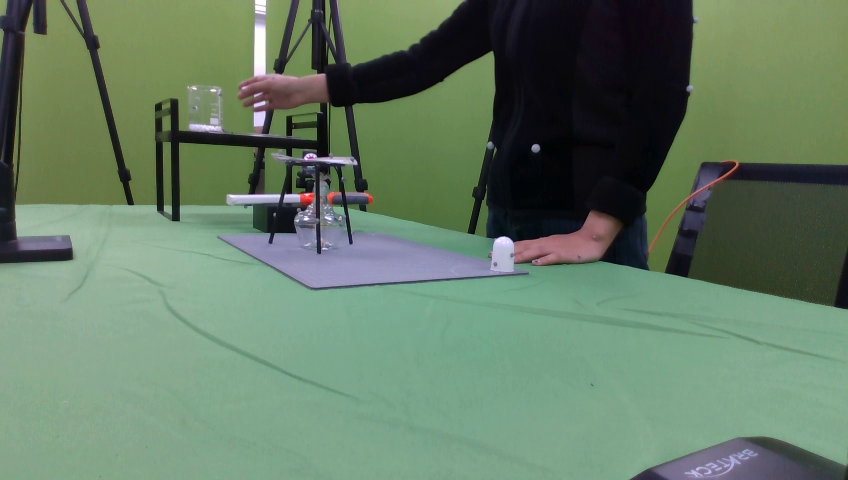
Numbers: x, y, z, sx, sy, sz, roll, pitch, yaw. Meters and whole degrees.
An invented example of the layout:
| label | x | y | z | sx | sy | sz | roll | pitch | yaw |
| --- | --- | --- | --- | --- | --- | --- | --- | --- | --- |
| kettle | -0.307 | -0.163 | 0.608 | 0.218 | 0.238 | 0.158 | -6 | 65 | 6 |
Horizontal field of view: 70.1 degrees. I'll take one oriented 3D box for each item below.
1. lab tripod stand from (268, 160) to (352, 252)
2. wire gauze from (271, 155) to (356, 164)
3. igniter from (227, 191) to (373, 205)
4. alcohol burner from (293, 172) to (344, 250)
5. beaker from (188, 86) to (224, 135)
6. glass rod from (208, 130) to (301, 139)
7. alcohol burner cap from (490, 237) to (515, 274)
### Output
| label | x | y | z | sx | sy | sz | roll | pitch | yaw |
| --- | --- | --- | --- | --- | --- | --- | --- | --- | --- |
| lab tripod stand | -0.171 | -0.055 | 0.921 | 0.148 | 0.131 | 0.148 | 1 | 8 | 0 |
| wire gauze | -0.167 | -0.122 | 0.917 | 0.125 | 0.011 | 0.121 | 0 | 7 | -9 |
| igniter | -0.232 | -0.080 | 1.161 | 0.278 | 0.025 | 0.057 | -3 | 11 | -28 |
| alcohol burner | -0.159 | -0.045 | 0.921 | 0.078 | 0.119 | 0.078 | 5 | 7 | 0 |
| beaker | -0.474 | -0.280 | 1.311 | 0.074 | 0.100 | 0.084 | 5 | 8 | 25 |
| glass rod | -0.366 | -0.231 | 1.320 | 0.201 | 0.008 | 0.008 | -1 | 8 | -30 |
| alcohol burner cap | 0.104 | 0.020 | 0.793 | 0.034 | 0.048 | 0.034 | 2 | 6 | 0 |
